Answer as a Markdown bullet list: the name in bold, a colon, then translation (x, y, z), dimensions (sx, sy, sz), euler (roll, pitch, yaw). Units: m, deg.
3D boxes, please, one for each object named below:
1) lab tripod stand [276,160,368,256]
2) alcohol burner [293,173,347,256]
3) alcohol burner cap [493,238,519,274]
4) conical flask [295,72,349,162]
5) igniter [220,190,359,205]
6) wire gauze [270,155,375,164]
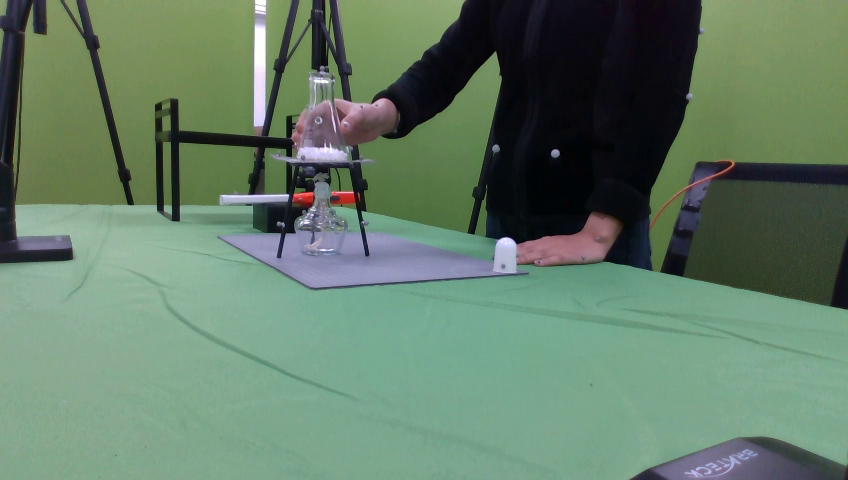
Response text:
- **lab tripod stand**: translation (-0.149, -0.046, 0.861), dimensions (0.148, 0.131, 0.148), euler (3, 9, 0)
- **alcohol burner**: translation (-0.148, -0.037, 0.868), dimensions (0.078, 0.119, 0.078), euler (4, 8, 0)
- **alcohol burner cap**: translation (0.107, 0.021, 0.785), dimensions (0.034, 0.048, 0.034), euler (1, 7, 0)
- **conical flask**: translation (-0.144, -0.171, 0.851), dimensions (0.075, 0.122, 0.075), euler (1, 8, 0)
- **igniter**: translation (-0.246, -0.081, 1.158), dimensions (0.278, 0.025, 0.057), euler (-5, 7, -32)
- **wire gauze**: translation (-0.146, -0.112, 0.860), dimensions (0.122, 0.011, 0.124), euler (-1, 7, -29)
